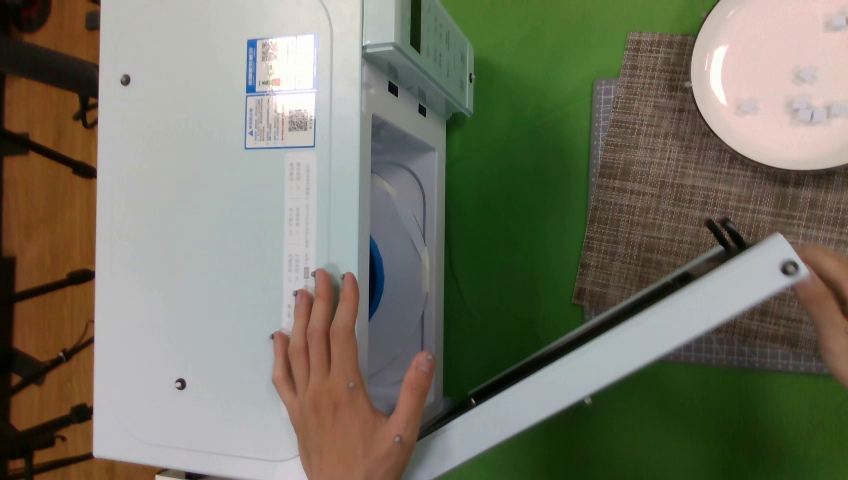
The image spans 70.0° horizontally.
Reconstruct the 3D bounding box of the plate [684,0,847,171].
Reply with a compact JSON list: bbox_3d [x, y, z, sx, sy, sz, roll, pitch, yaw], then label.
[{"bbox_3d":[0.362,-0.167,0.581,0.208,0.038,0.209,-1,87,19],"label":"plate"}]

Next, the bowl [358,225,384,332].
[{"bbox_3d":[-0.103,0.040,0.654,0.151,0.077,0.151,-1,88,19],"label":"bowl"}]

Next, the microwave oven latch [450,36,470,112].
[{"bbox_3d":[0.036,-0.186,0.680,0.030,0.029,0.079,1,90,19],"label":"microwave oven latch"}]

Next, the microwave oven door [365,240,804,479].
[{"bbox_3d":[0.130,0.107,0.535,0.356,0.245,0.039,-35,77,15],"label":"microwave oven door"}]

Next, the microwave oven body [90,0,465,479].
[{"bbox_3d":[-0.138,-0.012,0.635,0.325,0.261,0.441,0,90,19],"label":"microwave oven body"}]
